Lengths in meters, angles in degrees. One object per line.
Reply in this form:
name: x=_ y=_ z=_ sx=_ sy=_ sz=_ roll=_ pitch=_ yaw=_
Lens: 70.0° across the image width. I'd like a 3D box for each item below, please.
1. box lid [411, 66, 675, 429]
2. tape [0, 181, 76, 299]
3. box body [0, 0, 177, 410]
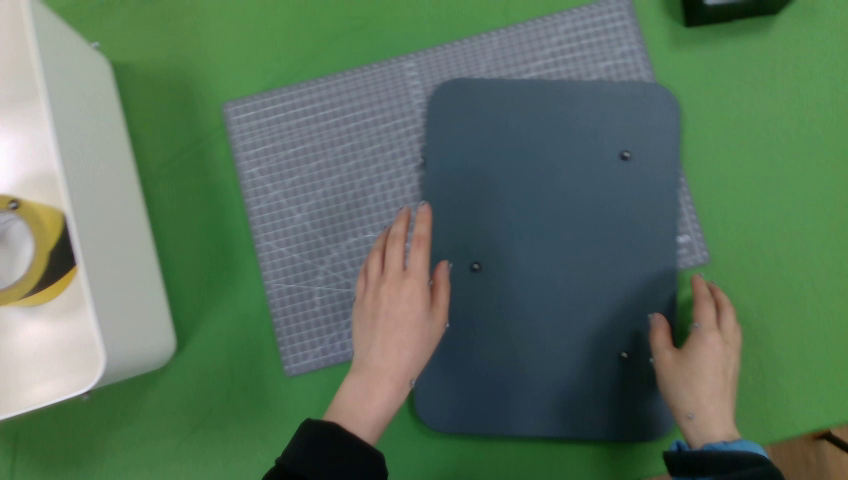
box lid: x=0.123 y=0.002 z=0.622 sx=0.263 sy=0.015 sz=0.370 roll=2 pitch=86 yaw=1
tape: x=-0.418 y=0.002 z=0.612 sx=0.117 sy=0.053 sz=0.116 roll=0 pitch=87 yaw=1
box body: x=-0.414 y=-0.023 z=0.565 sx=0.254 sy=0.160 sz=0.363 roll=-17 pitch=85 yaw=0
